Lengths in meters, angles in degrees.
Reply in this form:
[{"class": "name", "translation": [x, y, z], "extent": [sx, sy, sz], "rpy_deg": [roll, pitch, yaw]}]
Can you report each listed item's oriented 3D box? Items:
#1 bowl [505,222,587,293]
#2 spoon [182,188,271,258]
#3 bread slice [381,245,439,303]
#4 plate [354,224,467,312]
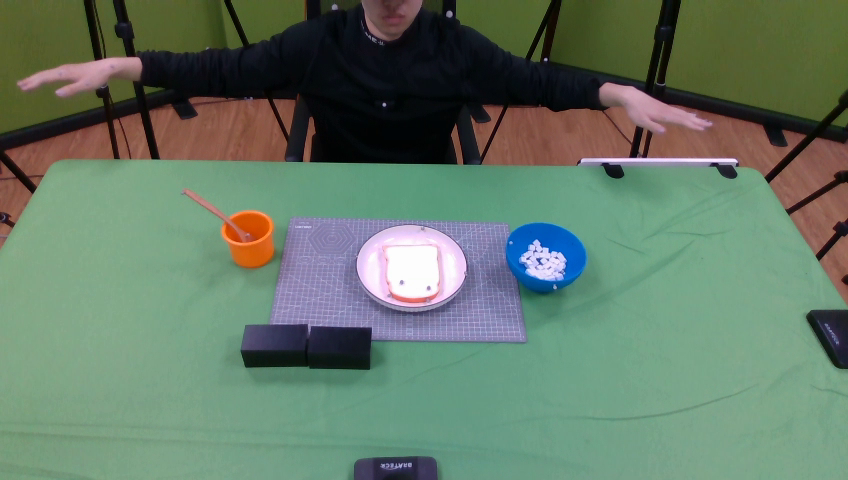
[{"class": "bowl", "translation": [0.221, 0.045, 1.132], "extent": [0.151, 0.077, 0.150], "rpy_deg": [2, 46, -2]}, {"class": "spoon", "translation": [-0.361, -0.032, 1.113], "extent": [0.021, 0.194, 0.041], "rpy_deg": [-26, 30, 35]}, {"class": "bread slice", "translation": [-0.022, 0.061, 1.126], "extent": [0.107, 0.018, 0.133], "rpy_deg": [-3, 45, -8]}, {"class": "plate", "translation": [-0.025, 0.055, 1.128], "extent": [0.209, 0.038, 0.208], "rpy_deg": [3, 46, -2]}]
